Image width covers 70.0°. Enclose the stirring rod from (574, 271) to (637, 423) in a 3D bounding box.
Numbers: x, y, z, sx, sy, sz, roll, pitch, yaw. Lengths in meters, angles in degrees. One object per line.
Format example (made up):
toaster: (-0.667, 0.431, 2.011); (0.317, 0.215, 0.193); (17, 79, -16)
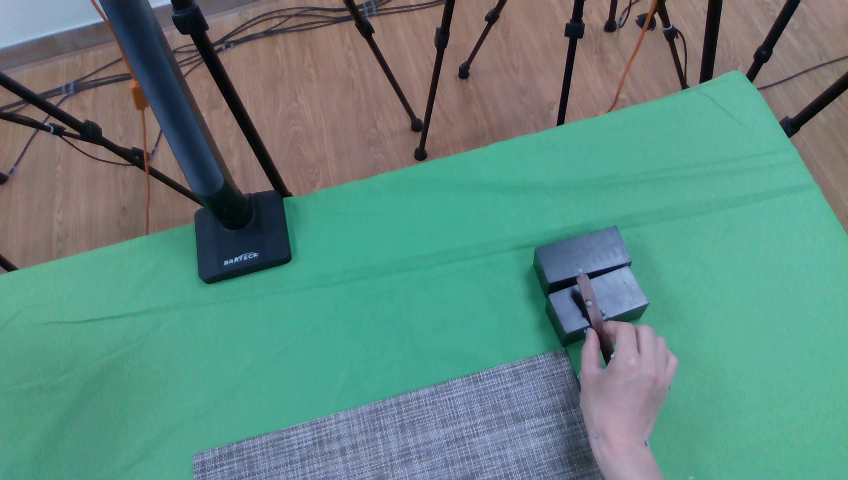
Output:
stirring rod: (0.200, 0.117, 0.669); (0.014, 0.006, 0.176); (-19, 89, 4)
